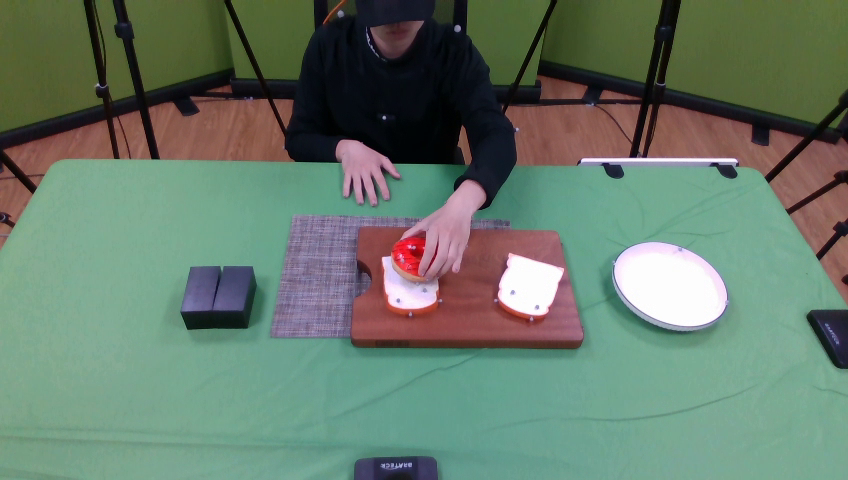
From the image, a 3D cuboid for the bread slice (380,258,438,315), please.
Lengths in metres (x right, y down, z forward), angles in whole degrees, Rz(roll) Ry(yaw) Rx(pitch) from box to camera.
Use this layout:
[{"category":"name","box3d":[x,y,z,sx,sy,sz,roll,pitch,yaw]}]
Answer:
[{"category":"bread slice","box3d":[-0.024,0.079,1.087,0.105,0.019,0.130,-3,44,-5]}]

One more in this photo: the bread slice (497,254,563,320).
[{"category":"bread slice","box3d":[0.189,0.087,1.095,0.107,0.018,0.134,15,46,10]}]

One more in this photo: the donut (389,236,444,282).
[{"category":"donut","box3d":[-0.013,0.034,1.072,0.099,0.048,0.098,7,41,-6]}]

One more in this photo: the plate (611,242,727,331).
[{"category":"plate","box3d":[0.455,0.090,1.138,0.209,0.038,0.208,3,45,-2]}]
